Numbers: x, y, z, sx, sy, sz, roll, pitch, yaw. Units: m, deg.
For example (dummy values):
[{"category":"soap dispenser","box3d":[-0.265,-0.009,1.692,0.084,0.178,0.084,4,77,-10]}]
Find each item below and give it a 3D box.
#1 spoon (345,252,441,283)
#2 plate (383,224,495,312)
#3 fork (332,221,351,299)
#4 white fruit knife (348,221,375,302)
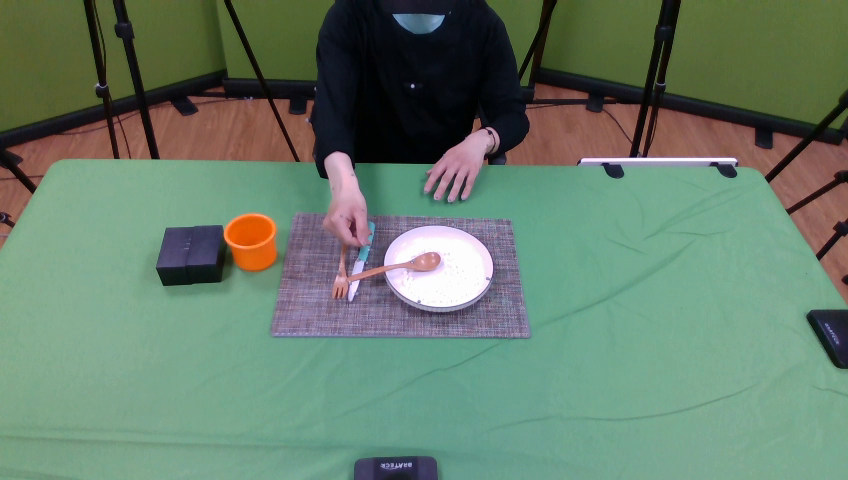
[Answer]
[{"category":"spoon","box3d":[-0.054,0.051,1.106,0.194,0.022,0.041,-10,49,-30]},{"category":"plate","box3d":[0.026,0.055,1.128,0.209,0.038,0.208,2,46,-2]},{"category":"fork","box3d":[-0.153,0.034,1.149,0.028,0.019,0.206,-6,47,6]},{"category":"white fruit knife","box3d":[-0.119,0.037,1.153,0.027,0.016,0.206,-15,42,25]}]
